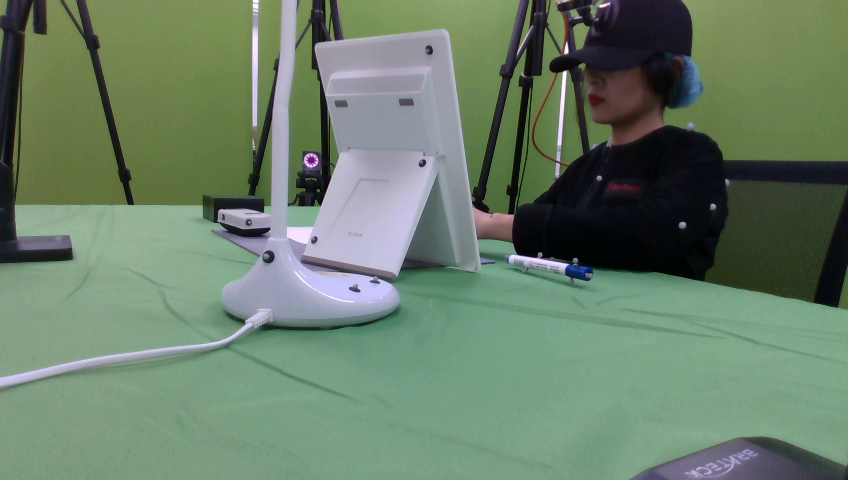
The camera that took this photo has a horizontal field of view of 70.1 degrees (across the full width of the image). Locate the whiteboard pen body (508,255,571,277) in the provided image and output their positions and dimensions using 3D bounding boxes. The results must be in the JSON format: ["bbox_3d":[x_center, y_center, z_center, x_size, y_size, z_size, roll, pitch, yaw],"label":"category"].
[{"bbox_3d":[0.155,0.034,0.772,0.017,0.017,0.140,-2,7,-31],"label":"whiteboard pen body"}]

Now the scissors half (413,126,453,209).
[{"bbox_3d":[0.013,-0.137,1.162,0.040,0.175,0.013,-32,20,-29],"label":"scissors half"}]

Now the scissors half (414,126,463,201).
[{"bbox_3d":[0.027,-0.148,1.170,0.040,0.176,0.012,-45,26,-18],"label":"scissors half"}]

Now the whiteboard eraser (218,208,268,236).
[{"bbox_3d":[-0.309,-0.031,1.044,0.056,0.042,0.112,-2,9,-40],"label":"whiteboard eraser"}]

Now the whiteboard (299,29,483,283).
[{"bbox_3d":[-0.074,-0.082,0.742,0.216,0.305,0.144,9,29,38],"label":"whiteboard"}]

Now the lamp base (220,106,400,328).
[{"bbox_3d":[-0.101,-0.023,0.531,0.160,0.180,0.179,4,10,10],"label":"lamp base"}]

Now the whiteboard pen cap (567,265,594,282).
[{"bbox_3d":[0.185,0.040,0.722,0.018,0.018,0.033,-3,6,-33],"label":"whiteboard pen cap"}]
